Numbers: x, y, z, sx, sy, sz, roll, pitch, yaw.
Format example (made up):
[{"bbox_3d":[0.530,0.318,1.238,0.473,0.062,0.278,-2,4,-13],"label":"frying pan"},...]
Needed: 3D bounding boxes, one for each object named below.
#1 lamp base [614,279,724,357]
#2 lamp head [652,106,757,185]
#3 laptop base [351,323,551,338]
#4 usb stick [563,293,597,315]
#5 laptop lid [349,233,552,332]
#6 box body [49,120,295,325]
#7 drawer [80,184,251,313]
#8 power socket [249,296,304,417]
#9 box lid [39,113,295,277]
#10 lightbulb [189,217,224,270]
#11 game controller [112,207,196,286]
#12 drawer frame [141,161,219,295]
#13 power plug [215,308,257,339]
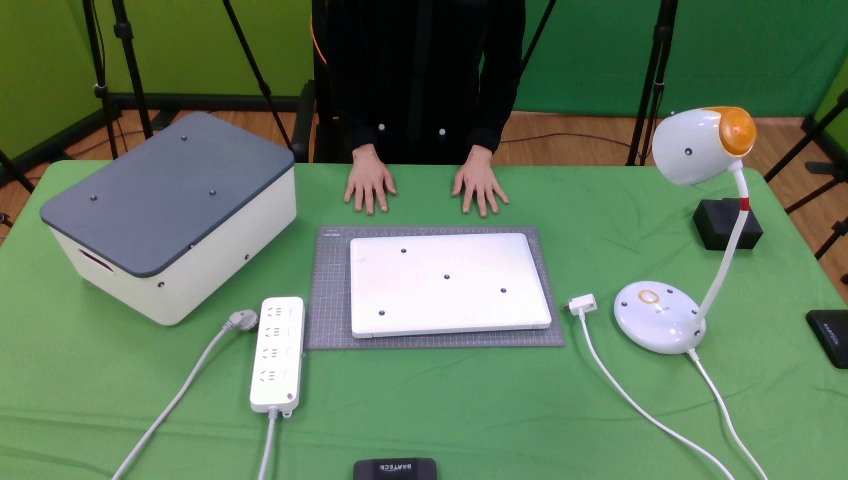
[{"bbox_3d":[0.436,0.090,1.035,0.161,0.181,0.178,-23,55,-23],"label":"lamp base"},{"bbox_3d":[0.410,-0.139,0.869,0.113,0.122,0.112,0,89,-19],"label":"lamp head"},{"bbox_3d":[0.039,0.080,1.125,0.355,0.023,0.234,-2,43,-6],"label":"laptop base"},{"bbox_3d":[0.280,0.118,1.093,0.059,0.021,0.027,-18,35,25],"label":"usb stick"},{"bbox_3d":[0.040,0.070,1.119,0.357,0.013,0.240,-1,44,-5],"label":"laptop lid"},{"bbox_3d":[-0.437,-0.046,1.110,0.253,0.161,0.363,24,49,19],"label":"box body"},{"bbox_3d":[-0.456,0.009,1.089,0.194,0.073,0.211,26,44,16],"label":"drawer"},{"bbox_3d":[-0.239,0.182,0.997,0.072,0.033,0.225,-2,47,-5],"label":"power socket"},{"bbox_3d":[-0.435,-0.096,1.056,0.262,0.015,0.370,25,48,18],"label":"box lid"},{"bbox_3d":[-0.406,0.007,1.114,0.059,0.060,0.107,8,59,3],"label":"lightbulb"},{"bbox_3d":[-0.465,0.003,1.042,0.097,0.052,0.154,7,47,0],"label":"game controller"},{"bbox_3d":[-0.435,-0.030,1.068,0.083,0.214,0.201,-11,12,-31],"label":"drawer frame"},{"bbox_3d":[-0.317,0.143,1.024,0.072,0.053,0.035,-32,58,-9],"label":"power plug"}]
